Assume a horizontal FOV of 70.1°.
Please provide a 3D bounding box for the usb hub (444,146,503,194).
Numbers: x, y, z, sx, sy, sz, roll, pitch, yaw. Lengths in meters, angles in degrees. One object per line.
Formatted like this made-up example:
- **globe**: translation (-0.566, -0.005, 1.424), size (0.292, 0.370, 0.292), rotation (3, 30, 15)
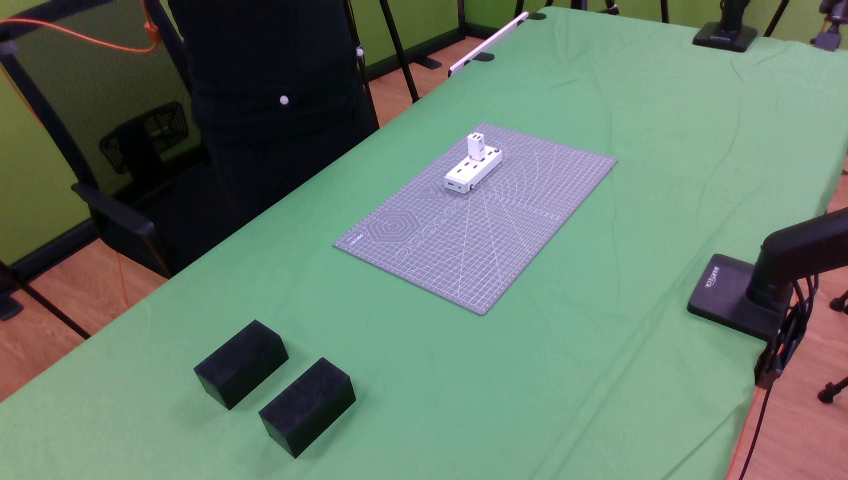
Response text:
- **usb hub**: translation (0.091, -0.129, 1.102), size (0.049, 0.025, 0.125), rotation (23, 49, 30)

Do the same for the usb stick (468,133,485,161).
- **usb stick**: translation (0.095, -0.162, 1.096), size (0.027, 0.059, 0.021), rotation (21, 48, 27)
